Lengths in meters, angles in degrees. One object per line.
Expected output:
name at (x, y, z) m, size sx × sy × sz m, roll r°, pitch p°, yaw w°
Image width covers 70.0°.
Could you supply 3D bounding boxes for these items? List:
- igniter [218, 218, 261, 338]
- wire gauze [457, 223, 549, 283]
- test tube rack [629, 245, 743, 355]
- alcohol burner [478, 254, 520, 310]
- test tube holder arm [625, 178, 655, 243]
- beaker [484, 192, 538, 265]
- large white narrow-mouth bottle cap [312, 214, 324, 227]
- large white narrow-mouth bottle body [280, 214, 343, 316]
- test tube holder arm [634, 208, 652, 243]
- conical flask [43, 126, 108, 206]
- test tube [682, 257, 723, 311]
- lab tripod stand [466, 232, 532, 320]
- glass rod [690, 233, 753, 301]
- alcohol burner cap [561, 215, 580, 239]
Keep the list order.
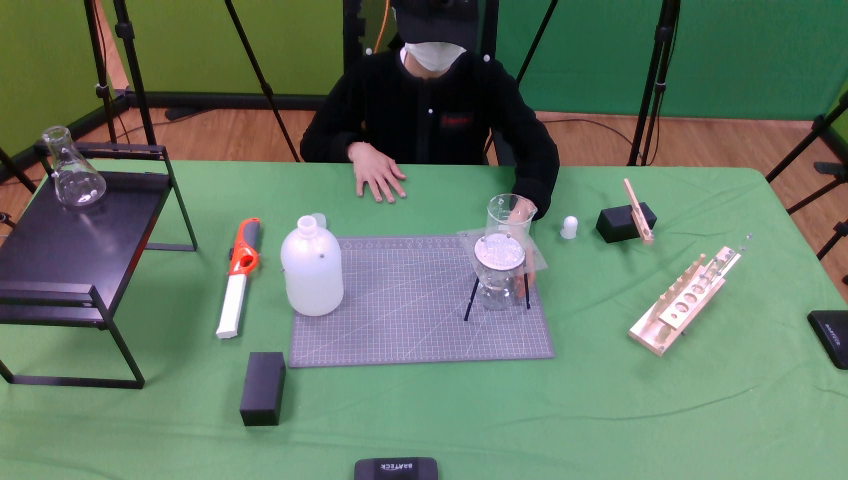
igniter at (-0.336, 0.060, 1.111) m, size 0.057 × 0.025 × 0.274 m, roll -7°, pitch 46°, yaw 4°
wire gauze at (0.131, 0.016, 1.017) m, size 0.121 × 0.011 × 0.124 m, roll -10°, pitch 44°, yaw -16°
test tube rack at (0.474, 0.095, 1.091) m, size 0.242 × 0.085 × 0.066 m, roll -34°, pitch 56°, yaw -31°
alcohol burner at (0.134, 0.068, 1.071) m, size 0.078 × 0.120 × 0.077 m, roll 0°, pitch 47°, yaw 0°
test tube holder arm at (0.433, -0.062, 1.220) m, size 0.013 × 0.015 × 0.177 m, roll 2°, pitch 47°, yaw -3°
beaker at (0.137, -0.016, 0.980) m, size 0.084 × 0.101 × 0.073 m, roll -6°, pitch 45°, yaw -9°
large white narrow-mouth bottle cap at (-0.219, -0.033, 1.214) m, size 0.038 × 0.024 × 0.037 m, roll 2°, pitch 46°, yaw -2°
large white narrow-mouth bottle body at (-0.190, 0.035, 1.025) m, size 0.102 × 0.195 × 0.101 m, roll 2°, pitch 46°, yaw -2°
test tube holder arm at (0.428, -0.030, 1.189) m, size 0.010 × 0.015 × 0.087 m, roll 2°, pitch 47°, yaw -3°
conical flask at (-0.555, -0.119, 0.953) m, size 0.075 × 0.122 × 0.075 m, roll 2°, pitch 46°, yaw -2°
test tube at (0.474, 0.080, 1.037) m, size 0.017 × 0.151 × 0.017 m, roll 1°, pitch 50°, yaw -1°
lab tripod stand at (0.125, 0.059, 1.065) m, size 0.148 × 0.132 × 0.147 m, roll 1°, pitch 45°, yaw 0°
glass rod at (0.507, 0.053, 1.041) m, size 0.008 × 0.200 × 0.008 m, roll 5°, pitch 51°, yaw -6°
alcohol burner cap at (0.299, -0.030, 1.230) m, size 0.034 × 0.048 × 0.033 m, roll 0°, pitch 46°, yaw 0°
